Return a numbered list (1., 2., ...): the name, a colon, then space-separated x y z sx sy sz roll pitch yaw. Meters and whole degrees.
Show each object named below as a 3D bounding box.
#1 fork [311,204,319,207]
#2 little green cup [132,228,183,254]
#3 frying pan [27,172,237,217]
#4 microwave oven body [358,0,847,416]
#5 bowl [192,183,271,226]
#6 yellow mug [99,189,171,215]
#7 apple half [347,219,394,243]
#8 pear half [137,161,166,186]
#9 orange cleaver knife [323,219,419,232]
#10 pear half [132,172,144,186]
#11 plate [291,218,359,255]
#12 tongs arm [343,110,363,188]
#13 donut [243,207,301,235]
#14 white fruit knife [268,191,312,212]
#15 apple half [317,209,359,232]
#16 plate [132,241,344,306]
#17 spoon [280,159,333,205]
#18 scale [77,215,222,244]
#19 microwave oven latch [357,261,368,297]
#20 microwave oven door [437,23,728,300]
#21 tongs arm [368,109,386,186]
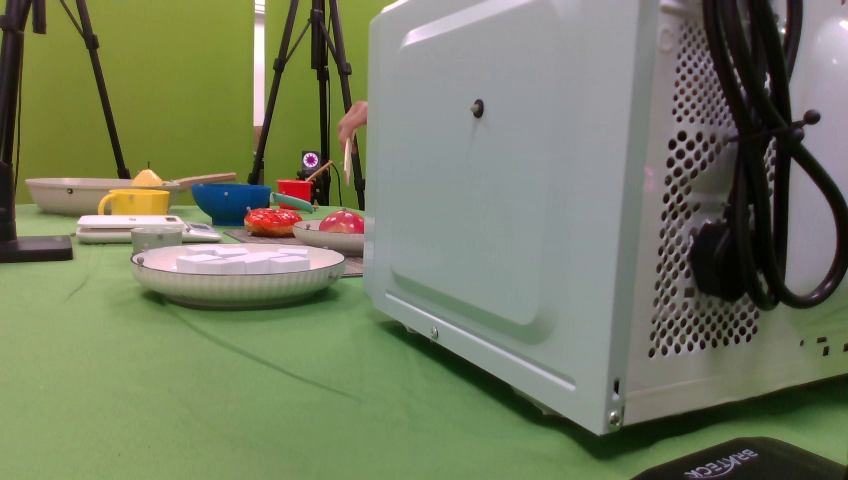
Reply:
1. fork: -0.356 -0.105 1.526 0.208 0.018 0.028 16 -5 -41
2. little green cup: -0.342 0.006 0.779 0.061 0.038 0.061 2 8 0
3. frying pan: -0.624 -0.118 1.387 0.305 0.102 0.490 8 17 32
4. microwave oven body: 0.211 -0.047 0.475 0.444 0.260 0.324 -1 8 -28
5. bowl: -0.382 -0.071 1.202 0.151 0.077 0.151 3 7 0
6. yellow mug: -0.519 -0.055 1.080 0.099 0.064 0.131 7 9 26
7. apple half: -0.084 -0.018 0.967 0.081 0.033 0.081 7 10 -1
8. pear half: -0.602 -0.120 1.354 0.056 0.110 0.076 4 11 6
9. orange cleaver knife: -0.096 -0.027 1.152 0.077 0.012 0.212 1 6 41
10. pear half: -0.638 -0.113 1.361 0.031 0.088 0.070 5 11 4
11. plate: -0.098 -0.007 0.928 0.209 0.038 0.209 2 8 0
12. tongs arm: -0.113 -0.163 1.007 0.028 0.028 0.387 -9 24 2
13. donut: -0.261 -0.032 1.043 0.099 0.048 0.099 4 9 0
14. white fruit knife: -0.364 -0.105 1.464 0.208 0.027 0.016 15 0 -34
15. apple half: -0.122 -0.020 0.900 0.080 0.053 0.075 4 11 15
16. plate: -0.187 0.033 0.625 0.208 0.039 0.207 2 8 0
17. spoon: -0.317 -0.159 1.640 0.194 0.022 0.041 -49 32 -20
18. scale: -0.434 -0.019 0.963 0.202 0.031 0.148 -1 9 -27
19. microwave oven latch: -0.019 0.033 0.531 0.079 0.029 0.030 -1 7 -27
20. microwave oven door: 0.180 -0.072 0.621 0.358 0.243 0.039 -2 8 -29
21. tongs arm: -0.090 -0.165 1.007 0.051 0.026 0.384 -4 25 4
